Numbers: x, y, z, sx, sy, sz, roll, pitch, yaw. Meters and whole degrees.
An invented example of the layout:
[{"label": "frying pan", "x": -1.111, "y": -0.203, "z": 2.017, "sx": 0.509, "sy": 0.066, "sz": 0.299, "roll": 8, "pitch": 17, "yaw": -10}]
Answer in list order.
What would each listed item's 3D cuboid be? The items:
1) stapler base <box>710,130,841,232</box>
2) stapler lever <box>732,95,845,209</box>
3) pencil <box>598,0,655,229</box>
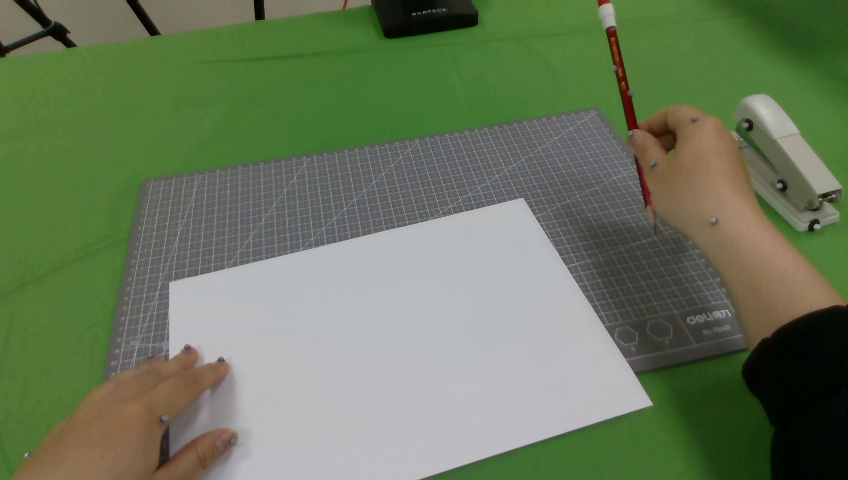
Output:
[{"label": "stapler base", "x": 0.302, "y": -0.061, "z": 0.524, "sx": 0.041, "sy": 0.025, "sz": 0.129, "roll": -16, "pitch": 49, "yaw": -8}, {"label": "stapler lever", "x": 0.302, "y": -0.077, "z": 0.504, "sx": 0.027, "sy": 0.040, "sz": 0.116, "roll": -16, "pitch": 49, "yaw": -8}, {"label": "pencil", "x": 0.158, "y": -0.102, "z": 0.470, "sx": 0.012, "sy": 0.012, "sz": 0.193, "roll": -8, "pitch": 79, "yaw": -3}]
